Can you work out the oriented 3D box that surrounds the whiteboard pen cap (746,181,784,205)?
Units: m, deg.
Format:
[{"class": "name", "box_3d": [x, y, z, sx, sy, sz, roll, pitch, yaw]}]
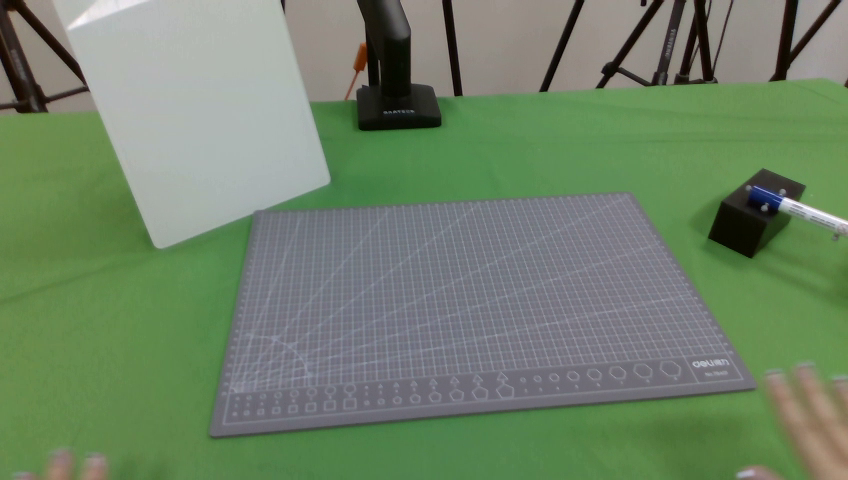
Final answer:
[{"class": "whiteboard pen cap", "box_3d": [0.357, -0.049, 0.632, 0.033, 0.018, 0.018, 31, 48, 32]}]

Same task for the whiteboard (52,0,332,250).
[{"class": "whiteboard", "box_3d": [-0.268, -0.182, 0.686, 0.217, 0.307, 0.142, -27, 27, -29]}]

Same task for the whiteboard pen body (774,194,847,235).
[{"class": "whiteboard pen body", "box_3d": [0.399, -0.023, 0.603, 0.139, 0.017, 0.017, 30, 47, 32]}]
